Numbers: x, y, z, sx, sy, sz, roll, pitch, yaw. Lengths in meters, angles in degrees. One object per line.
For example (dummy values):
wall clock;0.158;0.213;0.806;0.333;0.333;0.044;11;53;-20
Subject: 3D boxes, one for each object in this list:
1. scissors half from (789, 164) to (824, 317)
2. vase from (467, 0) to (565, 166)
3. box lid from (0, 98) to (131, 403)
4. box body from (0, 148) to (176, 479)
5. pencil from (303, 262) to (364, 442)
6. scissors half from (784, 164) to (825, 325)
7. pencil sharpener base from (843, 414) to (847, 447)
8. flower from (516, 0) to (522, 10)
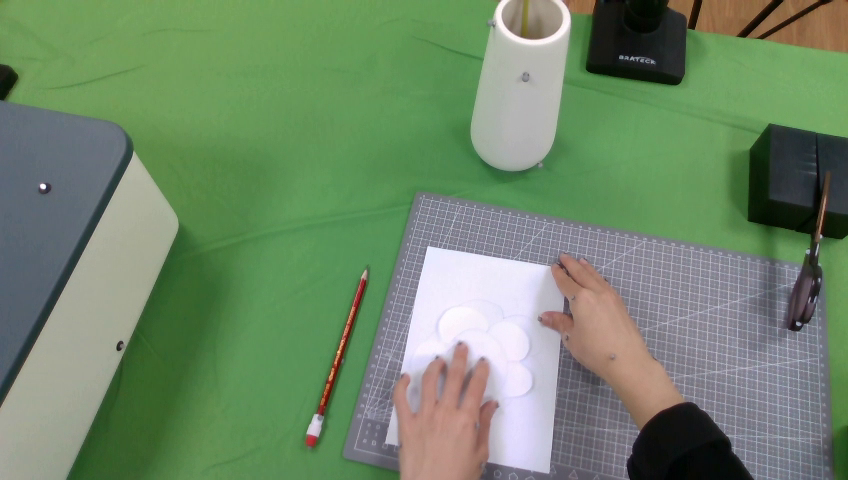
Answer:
scissors half;0.387;-0.004;0.604;0.013;0.040;0.174;15;66;18
vase;0.095;-0.165;0.638;0.098;0.201;0.097;-1;63;2
box lid;-0.426;0.030;0.490;0.263;0.015;0.369;12;65;6
box body;-0.424;0.065;0.558;0.254;0.161;0.361;11;65;6
pencil;-0.088;0.107;0.618;0.012;0.012;0.193;12;64;7
scissors half;0.393;0.003;0.622;0.012;0.040;0.175;14;83;23
pencil sharpener base;0.425;0.184;0.520;0.061;0.108;0.076;7;65;4
flower;0.090;-0.213;0.569;0.044;0.365;0.038;4;47;7
